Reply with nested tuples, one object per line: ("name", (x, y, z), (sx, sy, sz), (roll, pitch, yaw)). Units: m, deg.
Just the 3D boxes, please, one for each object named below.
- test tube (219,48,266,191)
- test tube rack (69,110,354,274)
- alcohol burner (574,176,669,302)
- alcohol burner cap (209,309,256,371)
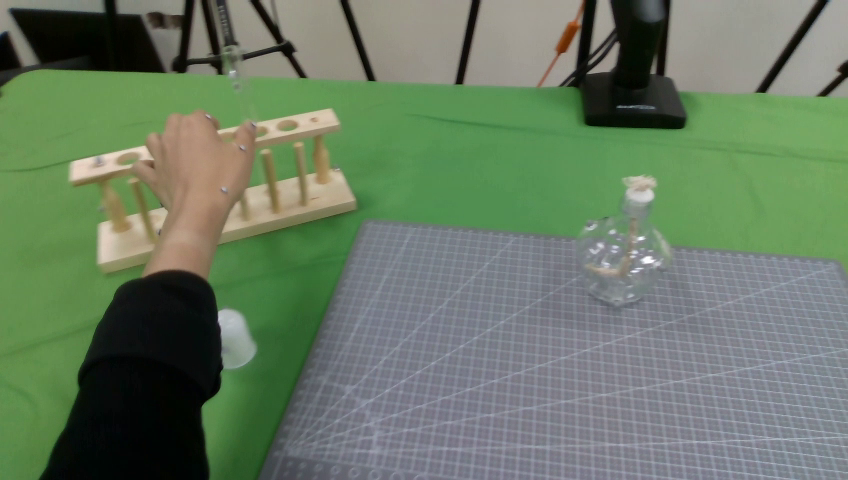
("test tube", (-0.168, -0.110, 0.582), (0.017, 0.151, 0.017), (-3, 40, 3))
("test tube rack", (-0.197, -0.050, 0.590), (0.243, 0.086, 0.066), (-16, 43, -16))
("alcohol burner", (0.166, -0.005, 0.501), (0.078, 0.120, 0.077), (0, 43, 0))
("alcohol burner cap", (-0.153, 0.076, 0.478), (0.034, 0.048, 0.033), (0, 41, 1))
